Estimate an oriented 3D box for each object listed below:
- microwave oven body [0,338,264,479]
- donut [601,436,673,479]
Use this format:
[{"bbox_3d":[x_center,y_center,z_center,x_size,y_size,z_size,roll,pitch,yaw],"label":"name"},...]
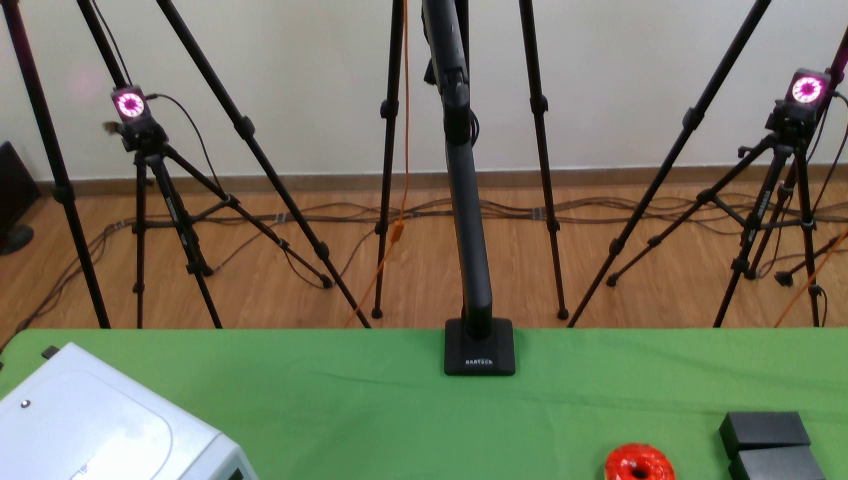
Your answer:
[{"bbox_3d":[-0.443,0.390,0.694,0.324,0.263,0.440,20,50,23],"label":"microwave oven body"},{"bbox_3d":[0.301,0.325,0.857,0.099,0.049,0.098,-5,41,5],"label":"donut"}]
